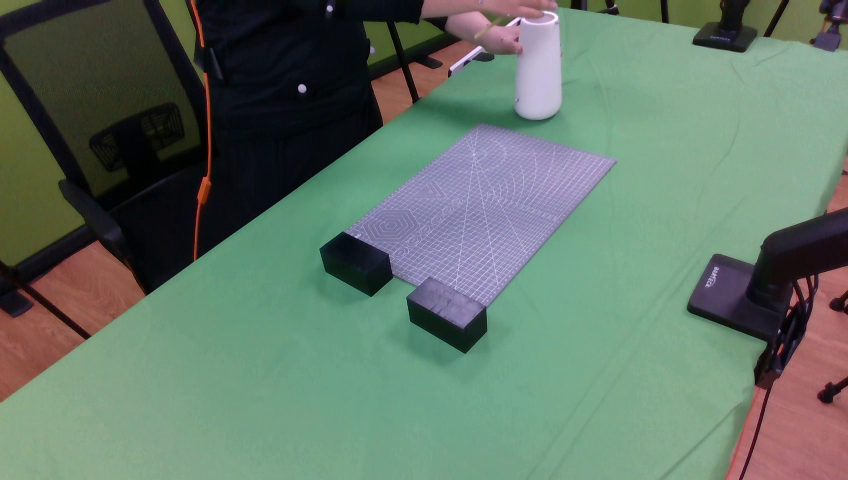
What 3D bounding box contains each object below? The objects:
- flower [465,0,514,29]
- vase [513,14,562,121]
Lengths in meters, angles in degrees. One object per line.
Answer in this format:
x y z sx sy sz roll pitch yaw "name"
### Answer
0.223 -0.438 0.984 0.360 0.044 0.038 -23 28 24 "flower"
0.225 -0.336 1.196 0.098 0.201 0.097 -5 42 5 "vase"
